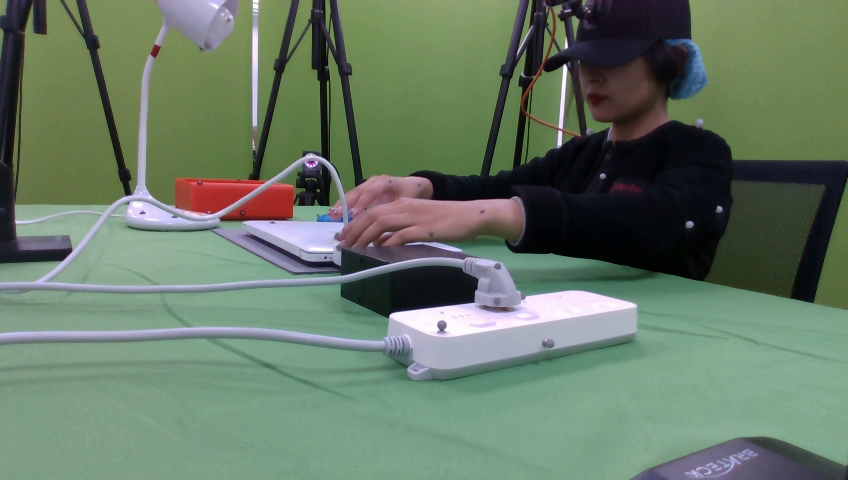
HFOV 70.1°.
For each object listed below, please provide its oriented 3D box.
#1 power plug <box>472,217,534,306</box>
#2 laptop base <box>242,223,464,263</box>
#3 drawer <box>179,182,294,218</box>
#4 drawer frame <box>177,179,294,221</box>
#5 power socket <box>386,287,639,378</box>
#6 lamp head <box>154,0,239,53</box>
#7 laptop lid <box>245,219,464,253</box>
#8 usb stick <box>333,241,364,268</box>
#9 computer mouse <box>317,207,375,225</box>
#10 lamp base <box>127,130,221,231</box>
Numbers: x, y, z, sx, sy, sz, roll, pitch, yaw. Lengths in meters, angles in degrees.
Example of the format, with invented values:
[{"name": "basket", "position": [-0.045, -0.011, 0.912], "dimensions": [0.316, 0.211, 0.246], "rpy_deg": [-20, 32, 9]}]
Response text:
[{"name": "power plug", "position": [0.055, 0.015, 0.454], "dimensions": [0.035, 0.072, 0.052], "rpy_deg": [-23, 0, -39]}, {"name": "laptop base", "position": [-0.127, 0.003, 0.946], "dimensions": [0.237, 0.023, 0.352], "rpy_deg": [2, 6, -30]}, {"name": "drawer", "position": [-0.420, -0.091, 1.354], "dimensions": [0.213, 0.073, 0.193], "rpy_deg": [-3, 10, -31]}, {"name": "drawer frame", "position": [-0.422, -0.092, 1.352], "dimensions": [0.215, 0.082, 0.200], "rpy_deg": [-3, 10, -32]}, {"name": "power socket", "position": [0.074, 0.064, 0.461], "dimensions": [0.228, 0.032, 0.072], "rpy_deg": [-4, 8, -34]}, {"name": "lamp head", "position": [-0.406, -0.402, 1.059], "dimensions": [0.123, 0.112, 0.112], "rpy_deg": [25, 6, -6]}, {"name": "laptop lid", "position": [-0.125, -0.009, 0.946], "dimensions": [0.243, 0.013, 0.355], "rpy_deg": [1, 7, -28]}, {"name": "usb stick", "position": [-0.096, 0.016, 0.743], "dimensions": [0.021, 0.027, 0.059], "rpy_deg": [-10, 11, -31]}, {"name": "computer mouse", "position": [-0.163, -0.048, 1.264], "dimensions": [0.118, 0.041, 0.062], "rpy_deg": [-6, 12, -29]}, {"name": "lamp base", "position": [-0.469, -0.112, 1.108], "dimensions": [0.179, 0.180, 0.160], "rpy_deg": [0, 7, 3]}]
